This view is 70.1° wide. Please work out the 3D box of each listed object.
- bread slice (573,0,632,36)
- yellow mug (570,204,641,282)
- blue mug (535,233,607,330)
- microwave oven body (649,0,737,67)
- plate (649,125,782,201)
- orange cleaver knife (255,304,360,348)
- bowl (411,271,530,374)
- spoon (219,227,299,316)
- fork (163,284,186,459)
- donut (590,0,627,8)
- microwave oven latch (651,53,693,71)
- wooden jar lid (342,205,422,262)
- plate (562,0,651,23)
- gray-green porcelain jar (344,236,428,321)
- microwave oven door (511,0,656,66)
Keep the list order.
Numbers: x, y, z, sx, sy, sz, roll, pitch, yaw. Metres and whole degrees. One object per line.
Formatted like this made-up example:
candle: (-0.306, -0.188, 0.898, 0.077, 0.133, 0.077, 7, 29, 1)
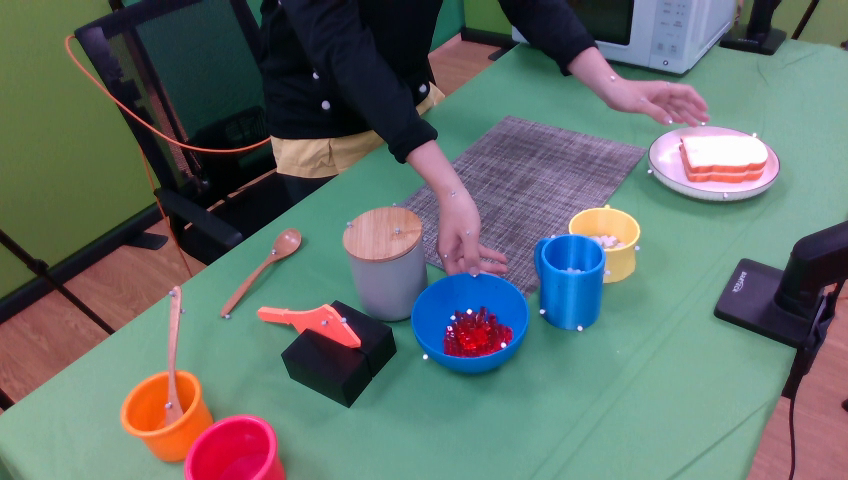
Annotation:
bread slice: (0.430, -0.560, 1.477, 0.105, 0.019, 0.131, -28, 69, -20)
yellow mug: (0.268, -0.005, 0.904, 0.099, 0.064, 0.130, 7, 41, 15)
blue mug: (0.191, 0.048, 0.824, 0.082, 0.106, 0.115, -26, 44, -20)
microwave oven body: (0.475, -0.602, 1.411, 0.438, 0.261, 0.327, 23, 50, 32)
plate: (0.493, -0.128, 1.036, 0.207, 0.039, 0.206, -4, 41, 4)
orange cleaver knife: (-0.161, 0.115, 0.813, 0.210, 0.077, 0.012, -4, 32, 47)
bowl: (0.061, 0.119, 0.780, 0.151, 0.077, 0.150, -4, 40, 4)
spoon: (-0.261, 0.046, 0.954, 0.041, 0.021, 0.194, 27, 48, 10)
fork: (-0.303, 0.157, 0.733, 0.028, 0.019, 0.207, -3, 84, 13)
donut: (0.438, -0.587, 1.433, 0.099, 0.048, 0.098, -2, 53, 3)
microwave oven latch: (0.532, -0.386, 1.301, 0.078, 0.029, 0.030, 27, 52, 34)
wooden jar lid: (-0.055, -0.005, 0.808, 0.108, 0.021, 0.108, -6, 41, 6)
plate: (0.440, -0.573, 1.455, 0.209, 0.038, 0.208, -6, 43, 6)
gray-green porcelain jar: (-0.049, 0.042, 0.849, 0.106, 0.127, 0.105, -4, 41, 4)
microwave oven door: (0.351, -0.539, 1.349, 0.353, 0.245, 0.039, 24, 50, 31)
